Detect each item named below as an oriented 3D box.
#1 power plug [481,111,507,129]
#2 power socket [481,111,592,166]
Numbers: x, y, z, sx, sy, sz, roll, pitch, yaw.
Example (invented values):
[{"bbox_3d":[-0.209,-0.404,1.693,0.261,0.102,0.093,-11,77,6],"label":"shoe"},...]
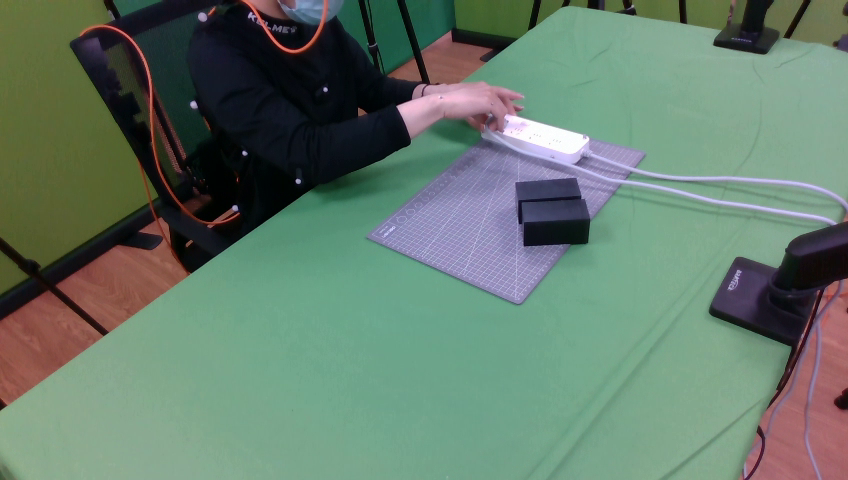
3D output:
[{"bbox_3d":[0.129,-0.221,1.165,0.073,0.053,0.035,-33,48,-23],"label":"power plug"},{"bbox_3d":[0.208,-0.197,1.155,0.225,0.033,0.072,25,51,32],"label":"power socket"}]
